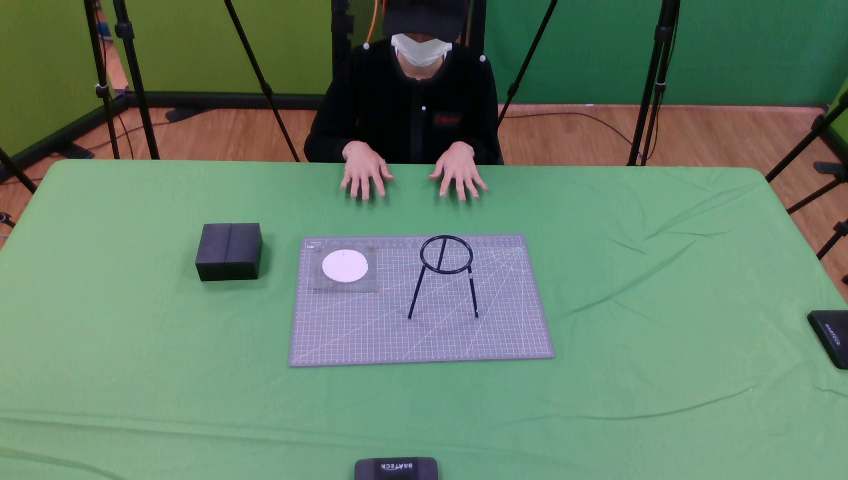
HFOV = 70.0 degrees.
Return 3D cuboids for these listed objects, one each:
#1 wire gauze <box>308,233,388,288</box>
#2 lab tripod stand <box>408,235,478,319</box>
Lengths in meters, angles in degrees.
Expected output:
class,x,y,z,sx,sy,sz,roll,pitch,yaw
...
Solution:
class,x,y,z,sx,sy,sz,roll,pitch,yaw
wire gauze,-0.144,0.033,1.140,0.121,0.011,0.124,-16,43,-16
lab tripod stand,0.032,0.065,1.057,0.148,0.132,0.147,1,45,-1
